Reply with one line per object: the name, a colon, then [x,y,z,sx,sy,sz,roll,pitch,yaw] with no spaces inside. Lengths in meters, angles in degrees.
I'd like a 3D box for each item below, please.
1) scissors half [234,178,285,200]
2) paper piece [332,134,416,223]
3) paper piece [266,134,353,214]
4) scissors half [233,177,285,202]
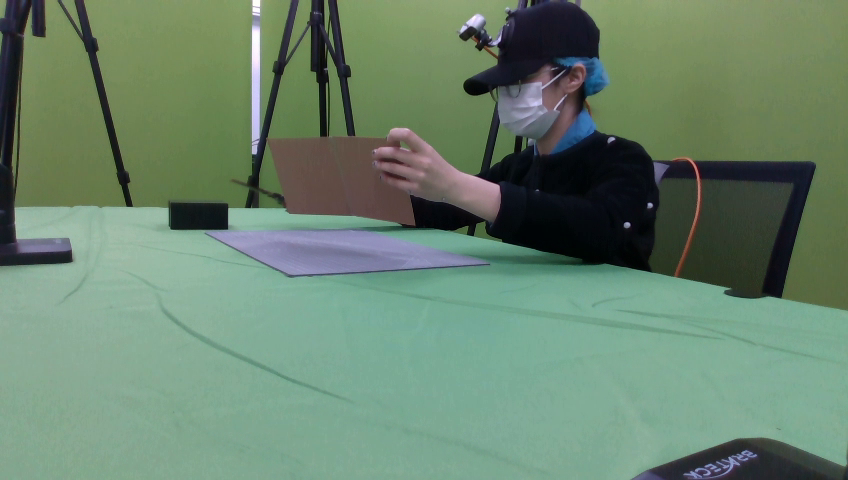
scissors half: [-0.289,-0.092,1.175,0.176,0.013,0.040,20,-12,-39]
paper piece: [-0.076,-0.093,0.905,0.137,0.136,0.009,8,34,38]
paper piece: [-0.186,-0.105,0.978,0.135,0.135,0.004,2,29,29]
scissors half: [-0.303,-0.094,1.188,0.040,0.013,0.176,12,-7,35]
